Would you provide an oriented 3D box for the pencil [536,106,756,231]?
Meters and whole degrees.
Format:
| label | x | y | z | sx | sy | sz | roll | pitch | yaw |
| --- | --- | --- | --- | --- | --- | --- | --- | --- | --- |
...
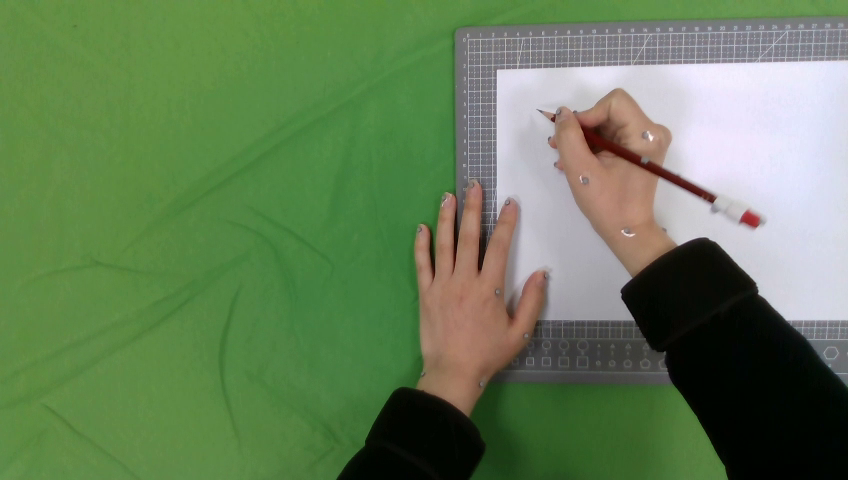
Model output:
| label | x | y | z | sx | sy | sz | roll | pitch | yaw |
| --- | --- | --- | --- | --- | --- | --- | --- | --- | --- |
| pencil | 0.144 | -0.058 | 0.425 | 0.012 | 0.012 | 0.192 | -55 | 49 | 9 |
